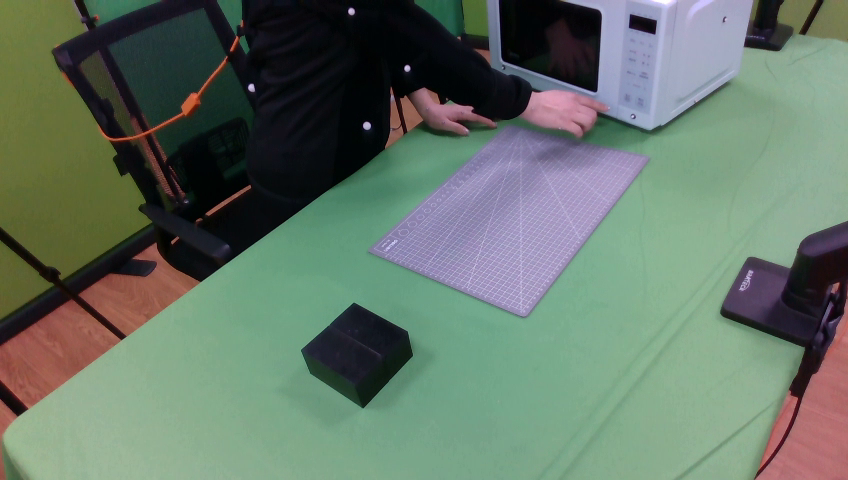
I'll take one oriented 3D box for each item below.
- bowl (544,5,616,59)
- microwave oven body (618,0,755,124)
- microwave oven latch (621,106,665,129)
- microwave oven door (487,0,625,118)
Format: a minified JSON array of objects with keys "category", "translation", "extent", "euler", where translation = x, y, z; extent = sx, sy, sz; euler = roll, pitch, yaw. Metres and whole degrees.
[{"category":"bowl","translation":[0.332,-0.441,1.302],"extent":[0.151,0.077,0.150],"euler":[-3,40,3]},{"category":"microwave oven body","translation":[0.402,-0.458,1.259],"extent":[0.327,0.261,0.437],"euler":[-33,45,-24]},{"category":"microwave oven latch","translation":[0.413,-0.237,1.146],"extent":[0.030,0.029,0.078],"euler":[-32,44,-23]},{"category":"microwave oven door","translation":[0.262,-0.410,1.222],"extent":[0.039,0.245,0.352],"euler":[-33,45,-25]}]
